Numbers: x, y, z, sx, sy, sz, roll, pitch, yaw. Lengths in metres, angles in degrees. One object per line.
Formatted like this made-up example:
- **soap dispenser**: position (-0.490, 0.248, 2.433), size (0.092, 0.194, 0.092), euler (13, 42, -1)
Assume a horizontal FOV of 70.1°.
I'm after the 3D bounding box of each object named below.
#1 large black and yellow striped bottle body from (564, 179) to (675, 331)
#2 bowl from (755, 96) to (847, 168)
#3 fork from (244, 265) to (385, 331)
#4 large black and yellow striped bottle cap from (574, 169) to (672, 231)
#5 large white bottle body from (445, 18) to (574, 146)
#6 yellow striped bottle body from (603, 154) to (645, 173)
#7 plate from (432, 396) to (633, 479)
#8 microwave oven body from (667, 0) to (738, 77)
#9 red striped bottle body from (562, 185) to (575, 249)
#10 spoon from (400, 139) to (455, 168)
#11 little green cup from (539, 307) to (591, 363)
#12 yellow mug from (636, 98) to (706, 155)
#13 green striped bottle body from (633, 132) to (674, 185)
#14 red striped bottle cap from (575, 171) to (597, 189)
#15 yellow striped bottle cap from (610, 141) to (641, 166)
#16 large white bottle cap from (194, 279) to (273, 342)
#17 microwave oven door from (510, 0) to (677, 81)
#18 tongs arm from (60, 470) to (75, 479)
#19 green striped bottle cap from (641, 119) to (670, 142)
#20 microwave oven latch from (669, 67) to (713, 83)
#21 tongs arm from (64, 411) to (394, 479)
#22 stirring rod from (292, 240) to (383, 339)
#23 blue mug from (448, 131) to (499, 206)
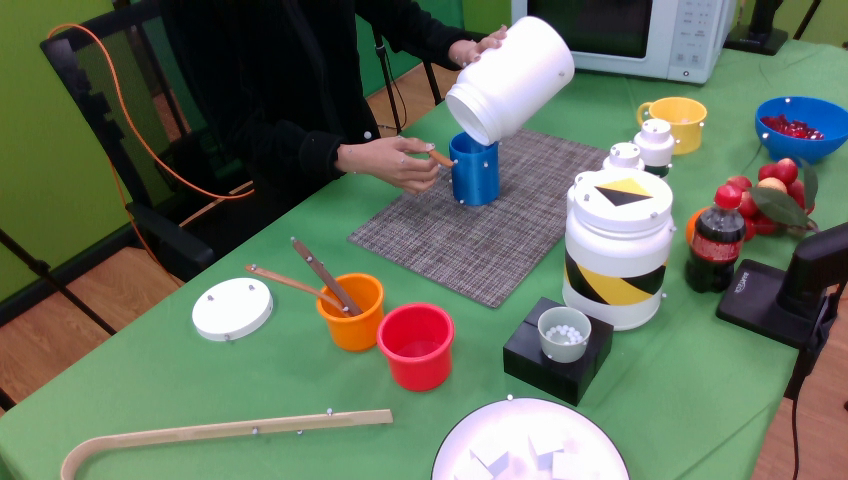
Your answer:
- **large black and yellow striped bottle body**: position (0.253, 0.014, 0.793), size (0.131, 0.185, 0.130), euler (-5, 40, 4)
- **bowl**: position (0.645, -0.177, 1.041), size (0.151, 0.077, 0.150), euler (-5, 40, 4)
- **fork**: position (-0.142, 0.078, 0.806), size (0.209, 0.018, 0.028), euler (30, 32, -23)
- **large black and yellow striped bottle cap**: position (0.242, -0.051, 0.738), size (0.115, 0.019, 0.114), euler (-4, 37, 3)
- **large white bottle body**: position (0.135, -0.253, 0.985), size (0.185, 0.131, 0.129), euler (-43, 47, -6)
- **yellow striped bottle body**: position (0.314, -0.091, 0.957), size (0.063, 0.121, 0.062), euler (-4, 40, 4)
- **plate**: position (0.112, 0.261, 0.634), size (0.209, 0.038, 0.208), euler (-5, 40, 4)
- **microwave oven body**: position (0.462, -0.552, 1.369), size (0.439, 0.261, 0.326), euler (15, 45, 26)
- **red striped bottle body**: position (0.246, -0.041, 0.910), size (0.063, 0.120, 0.063), euler (0, 38, 1)
- **spoon**: position (0.004, -0.140, 0.967), size (0.042, 0.022, 0.192), euler (-20, 21, -14)
- **little green cup**: position (0.167, 0.114, 0.721), size (0.061, 0.039, 0.061), euler (-4, 43, 4)
- **yellow mug**: position (0.453, -0.217, 1.128), size (0.100, 0.064, 0.129), euler (-34, 46, -27)
- **green striped bottle body**: position (0.376, -0.135, 1.001), size (0.063, 0.120, 0.063), euler (-5, 41, 5)
- **red striped bottle cap**: position (0.242, -0.081, 0.876), size (0.044, 0.018, 0.044), euler (-5, 44, 5)
- **yellow striped bottle cap**: position (0.308, -0.131, 0.925), size (0.044, 0.019, 0.044), euler (-4, 46, 4)
- **large white bottle cap**: position (-0.284, 0.103, 0.902), size (0.115, 0.018, 0.114), euler (-4, 40, 4)
- **microwave oven door**: position (0.354, -0.478, 1.290), size (0.353, 0.245, 0.039), euler (15, 45, 25)
- **tongs arm**: position (-0.238, 0.304, 0.649), size (0.386, 0.028, 0.028), euler (6, 50, 16)
- **green striped bottle cap**: position (0.371, -0.175, 0.968), size (0.044, 0.020, 0.044), euler (-5, 42, 5)
- **microwave oven latch**: position (0.556, -0.349, 1.261), size (0.078, 0.029, 0.030), euler (16, 46, 27)
- **tongs arm**: position (-0.228, 0.242, 0.715), size (0.385, 0.026, 0.050), euler (-5, 44, 4)
- **stirring rod**: position (-0.118, 0.068, 0.825), size (0.176, 0.006, 0.014), euler (48, 59, -3)
- **blue mug**: position (0.089, -0.135, 1.050), size (0.082, 0.106, 0.116), euler (1, 41, 11)
